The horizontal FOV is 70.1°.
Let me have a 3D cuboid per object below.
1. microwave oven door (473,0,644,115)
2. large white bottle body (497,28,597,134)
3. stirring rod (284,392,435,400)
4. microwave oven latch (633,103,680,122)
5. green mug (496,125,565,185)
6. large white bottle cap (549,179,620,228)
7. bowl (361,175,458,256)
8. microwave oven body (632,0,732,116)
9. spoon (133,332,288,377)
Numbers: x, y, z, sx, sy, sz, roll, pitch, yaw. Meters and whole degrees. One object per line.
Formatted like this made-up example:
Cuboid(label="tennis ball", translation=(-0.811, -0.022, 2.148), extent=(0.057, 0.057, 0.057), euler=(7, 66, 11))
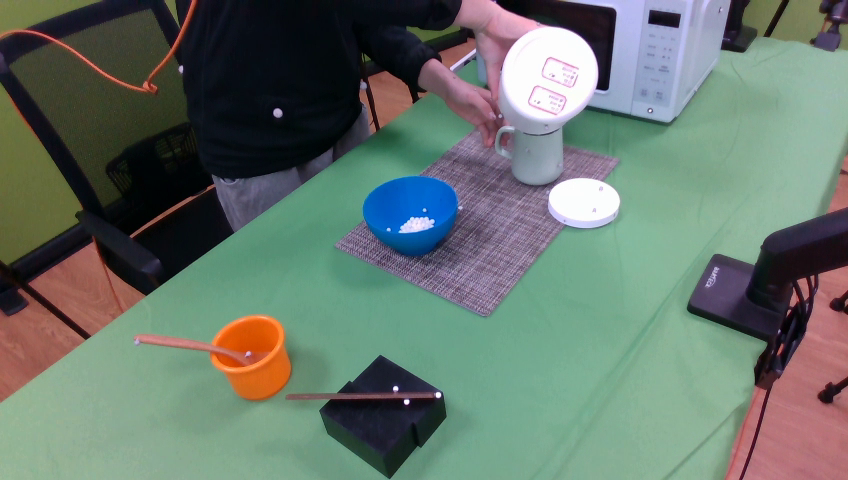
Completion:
Cuboid(label="microwave oven door", translation=(0.257, -0.396, 1.199), extent=(0.353, 0.245, 0.039), euler=(21, 48, 29))
Cuboid(label="large white bottle body", translation=(0.177, -0.230, 0.909), extent=(0.130, 0.130, 0.184), euler=(-4, 3, 4))
Cuboid(label="stirring rod", translation=(-0.075, 0.180, 0.698), extent=(0.176, 0.006, 0.014), euler=(-2, 6, 7))
Cuboid(label="microwave oven latch", translation=(0.443, -0.249, 1.157), extent=(0.078, 0.029, 0.030), euler=(21, 48, 30))
Cuboid(label="green mug", translation=(0.185, -0.162, 1.061), extent=(0.124, 0.105, 0.092), euler=(16, 46, 24))
Cuboid(label="large white bottle cap", translation=(0.265, -0.062, 1.001), extent=(0.115, 0.018, 0.114), euler=(-4, 41, 4))
Cuboid(label="bowl", translation=(-0.019, -0.028, 0.955), extent=(0.151, 0.077, 0.150), euler=(-4, 40, 4))
Cuboid(label="microwave oven body", translation=(0.377, -0.462, 1.267), extent=(0.438, 0.261, 0.327), euler=(21, 48, 30))
Cuboid(label="spoon", translation=(-0.257, 0.137, 0.747), extent=(0.021, 0.195, 0.041), euler=(-46, 40, 24))
